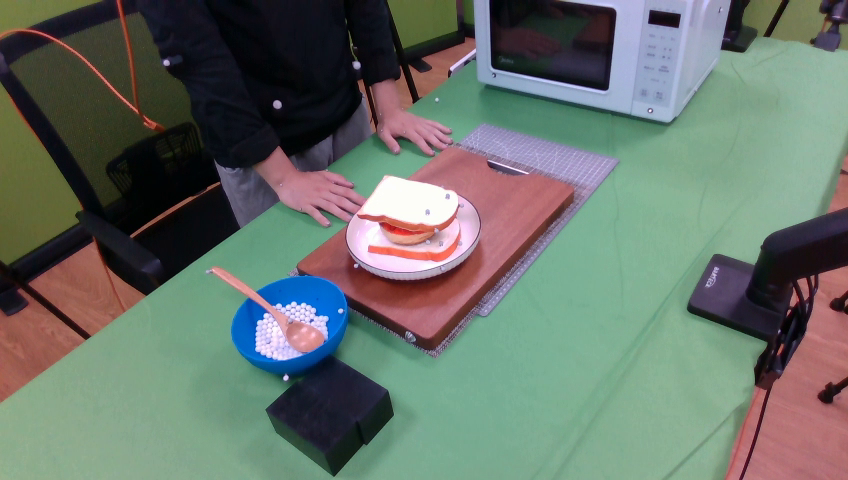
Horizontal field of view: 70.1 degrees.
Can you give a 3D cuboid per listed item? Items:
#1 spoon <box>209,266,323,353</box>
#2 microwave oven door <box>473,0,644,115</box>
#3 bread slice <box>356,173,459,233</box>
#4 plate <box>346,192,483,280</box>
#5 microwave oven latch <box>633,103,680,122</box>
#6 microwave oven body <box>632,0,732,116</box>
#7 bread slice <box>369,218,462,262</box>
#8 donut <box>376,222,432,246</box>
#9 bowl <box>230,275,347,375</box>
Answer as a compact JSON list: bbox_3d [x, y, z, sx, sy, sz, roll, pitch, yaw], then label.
[{"bbox_3d":[-0.213,0.088,0.806,0.193,0.021,0.042,36,55,11],"label":"spoon"},{"bbox_3d":[0.257,-0.396,1.199,0.353,0.245,0.039,21,48,29],"label":"microwave oven door"},{"bbox_3d":[-0.018,-0.053,0.886,0.134,0.018,0.107,12,43,12],"label":"bread slice"},{"bbox_3d":[-0.013,-0.008,0.922,0.207,0.039,0.206,-4,40,4],"label":"plate"},{"bbox_3d":[0.443,-0.249,1.157,0.078,0.029,0.030,20,48,30],"label":"microwave oven latch"},{"bbox_3d":[0.377,-0.462,1.267,0.438,0.261,0.327,21,48,30],"label":"microwave oven body"},{"bbox_3d":[-0.008,-0.010,0.929,0.131,0.019,0.105,7,44,20],"label":"bread slice"},{"bbox_3d":[-0.023,-0.031,0.906,0.099,0.048,0.098,-9,42,9],"label":"donut"},{"bbox_3d":[-0.171,0.125,0.802,0.151,0.077,0.150,-4,40,4],"label":"bowl"}]
